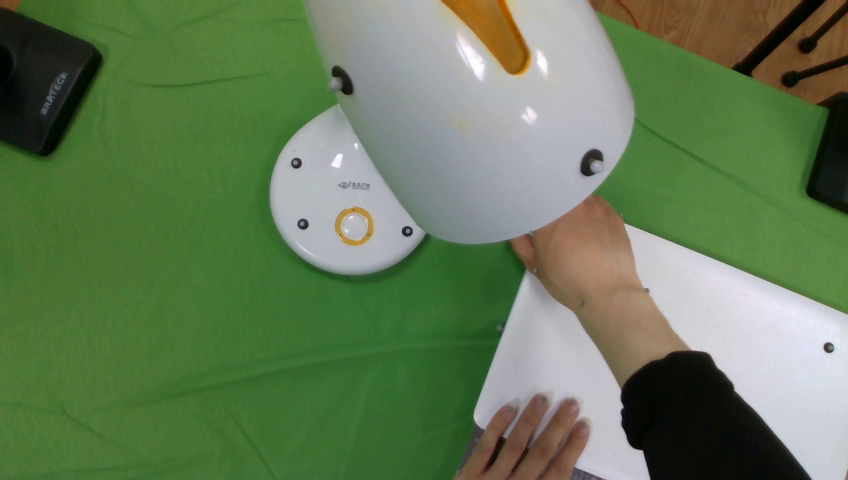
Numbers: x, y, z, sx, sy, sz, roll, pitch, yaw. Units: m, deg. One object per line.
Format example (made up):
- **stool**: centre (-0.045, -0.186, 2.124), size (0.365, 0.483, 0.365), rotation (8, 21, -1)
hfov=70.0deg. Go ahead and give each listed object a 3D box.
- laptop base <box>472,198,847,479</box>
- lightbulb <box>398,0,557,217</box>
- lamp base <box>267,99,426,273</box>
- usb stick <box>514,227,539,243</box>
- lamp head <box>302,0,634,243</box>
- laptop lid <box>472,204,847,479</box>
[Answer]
- **laptop base**: centre (0.246, 0.127, 0.588), size (0.354, 0.023, 0.235), rotation (22, 83, -1)
- **lightbulb**: centre (0.019, -0.054, 0.250), size (0.059, 0.109, 0.059), rotation (-15, 47, 17)
- **lamp base**: centre (-0.067, -0.072, 0.512), size (0.161, 0.181, 0.178), rotation (-8, 79, -5)
- **usb stick**: centre (0.094, -0.014, 0.587), size (0.059, 0.027, 0.021), rotation (30, 74, -3)
- **lamp head**: centre (0.008, -0.077, 0.233), size (0.112, 0.111, 0.124), rotation (-49, 129, -9)
- **laptop lid**: centre (0.246, 0.127, 0.576), size (0.357, 0.013, 0.241), rotation (23, 82, 0)
